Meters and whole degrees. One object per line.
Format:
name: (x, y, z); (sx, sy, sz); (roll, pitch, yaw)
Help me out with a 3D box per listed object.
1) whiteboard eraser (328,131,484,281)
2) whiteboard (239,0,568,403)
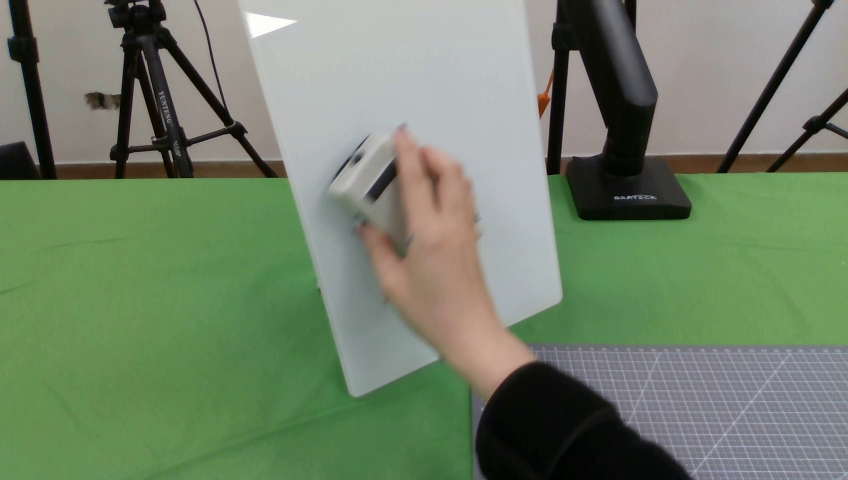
whiteboard eraser: (-0.011, -0.023, 0.437); (0.055, 0.114, 0.041); (-55, 29, -10)
whiteboard: (-0.022, -0.062, 0.521); (0.217, 0.307, 0.142); (-21, 21, -22)
